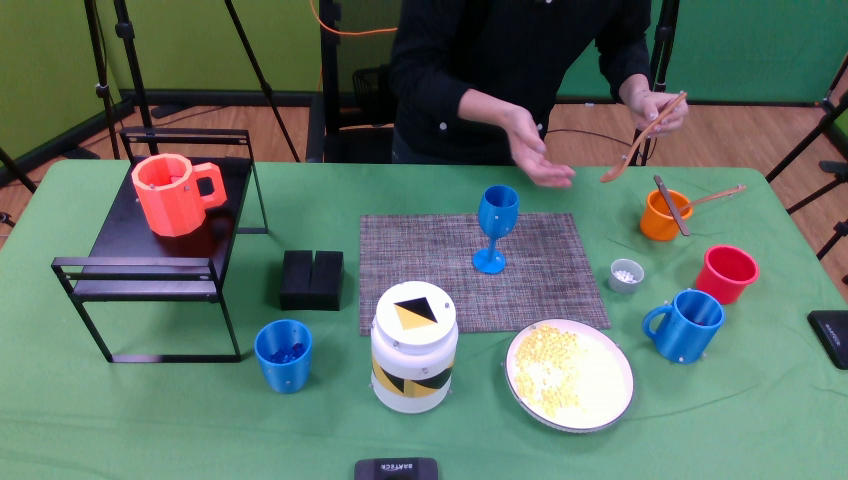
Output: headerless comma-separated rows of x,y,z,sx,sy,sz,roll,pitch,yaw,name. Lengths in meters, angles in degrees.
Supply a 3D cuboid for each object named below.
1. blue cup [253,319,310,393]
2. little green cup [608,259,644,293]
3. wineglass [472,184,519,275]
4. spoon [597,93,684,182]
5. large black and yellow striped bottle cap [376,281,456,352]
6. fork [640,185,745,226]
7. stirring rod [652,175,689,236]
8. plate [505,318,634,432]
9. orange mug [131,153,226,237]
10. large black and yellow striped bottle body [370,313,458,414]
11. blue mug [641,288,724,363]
-0.217,0.187,0.943,0.093,0.101,0.092,4,45,-3,blue cup
0.379,0.070,1.147,0.061,0.039,0.061,3,45,-3,little green cup
0.129,-0.018,1.113,0.074,0.173,0.073,2,46,-2,wineglass
0.363,-0.170,1.020,0.022,0.194,0.041,34,21,-7,spoon
-0.011,0.107,0.863,0.115,0.019,0.114,2,47,-2,large black and yellow striped bottle cap
0.534,-0.069,1.215,0.207,0.019,0.028,-26,27,33,fork
0.491,-0.072,1.211,0.014,0.006,0.175,-1,46,-6,stirring rod
0.235,0.221,0.991,0.209,0.038,0.208,2,46,-2,plate
-0.375,-0.075,0.937,0.126,0.101,0.083,-20,50,-17,orange mug
-0.017,0.165,0.924,0.131,0.185,0.130,2,46,-2,large black and yellow striped bottle body
0.432,0.144,1.033,0.116,0.106,0.082,8,46,5,blue mug
